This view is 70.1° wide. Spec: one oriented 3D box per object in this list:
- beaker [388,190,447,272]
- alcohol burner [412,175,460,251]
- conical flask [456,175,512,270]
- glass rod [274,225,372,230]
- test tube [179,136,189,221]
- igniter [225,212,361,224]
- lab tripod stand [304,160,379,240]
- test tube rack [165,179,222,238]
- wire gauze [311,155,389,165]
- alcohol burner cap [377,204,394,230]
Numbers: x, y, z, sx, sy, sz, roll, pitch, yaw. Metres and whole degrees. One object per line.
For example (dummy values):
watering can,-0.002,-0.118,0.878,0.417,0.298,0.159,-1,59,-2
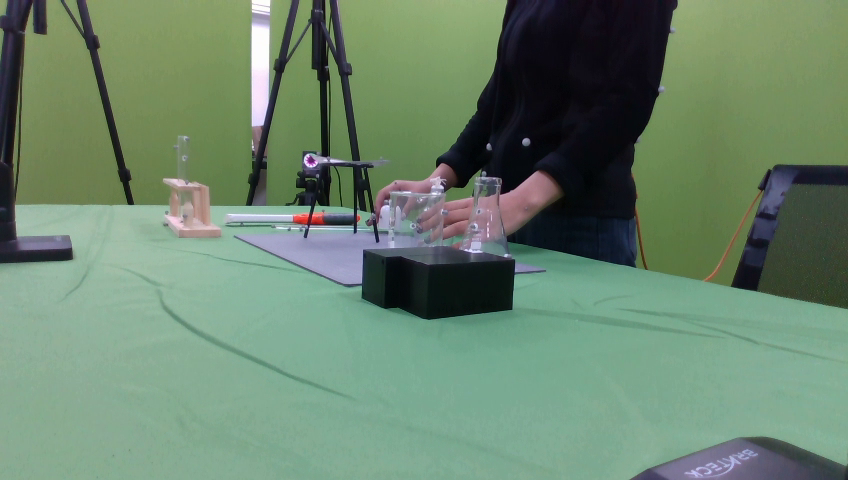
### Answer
beaker,-0.010,-0.013,0.771,0.074,0.100,0.084,3,7,4
alcohol burner,0.020,-0.043,0.959,0.078,0.119,0.078,4,9,0
conical flask,0.082,-0.025,0.801,0.075,0.122,0.075,2,7,0
glass rod,-0.193,-0.024,1.176,0.201,0.008,0.008,1,7,-31
test tube,-0.425,-0.108,1.070,0.017,0.150,0.017,4,9,0
igniter,-0.262,-0.044,1.240,0.278,0.025,0.057,-2,-1,-31
lab tripod stand,-0.131,-0.071,1.046,0.148,0.131,0.148,4,7,0
test tube rack,-0.423,-0.062,1.098,0.067,0.085,0.241,-2,9,-28
wire gauze,-0.128,-0.137,1.042,0.122,0.011,0.124,1,8,-18
alcohol burner cap,-0.072,-0.044,1.145,0.034,0.048,0.034,4,5,0
